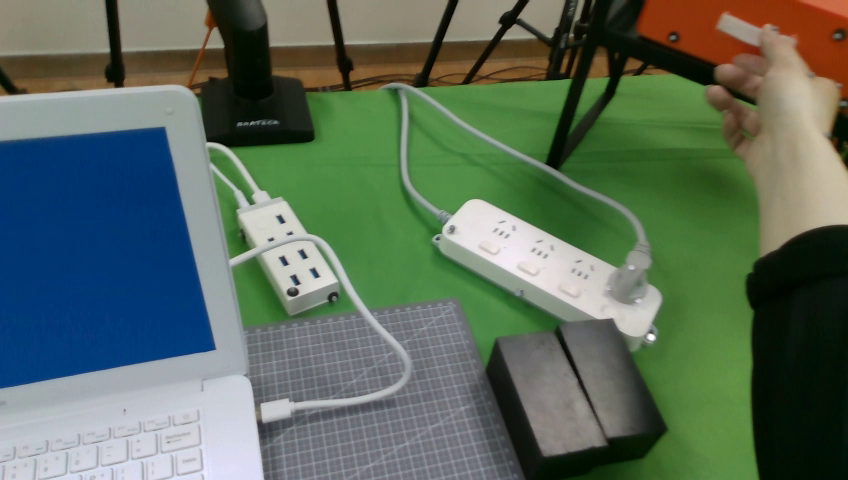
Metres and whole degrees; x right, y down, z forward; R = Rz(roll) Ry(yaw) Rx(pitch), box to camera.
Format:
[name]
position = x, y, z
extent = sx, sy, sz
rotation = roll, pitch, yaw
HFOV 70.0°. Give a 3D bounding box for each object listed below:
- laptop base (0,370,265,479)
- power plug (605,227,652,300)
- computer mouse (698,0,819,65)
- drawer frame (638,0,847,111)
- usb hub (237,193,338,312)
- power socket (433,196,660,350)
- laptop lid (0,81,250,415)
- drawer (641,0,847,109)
[laptop base]
position = -0.269, 0.213, 0.356
extent = 0.355, 0.023, 0.233
rotation = -9, 53, -16
[power plug]
position = 0.196, 0.029, 0.560
extent = 0.035, 0.053, 0.072
rotation = 38, 54, 25
[computer mouse]
position = 0.315, -0.208, 0.567
extent = 0.063, 0.041, 0.116
rotation = -11, 55, -22
[drawer frame]
position = 0.339, -0.235, 0.576
extent = 0.200, 0.083, 0.213
rotation = 28, 49, 17
[usb hub]
position = -0.129, 0.009, 0.563
extent = 0.049, 0.025, 0.124
rotation = -21, 54, -25
[power socket]
position = 0.117, 0.027, 0.580
extent = 0.225, 0.033, 0.072
rotation = 29, 49, 18
[laptop lid]
position = -0.300, 0.030, 0.361
extent = 0.358, 0.243, 0.013
rotation = -10, 36, -15
[drawer]
position = 0.338, -0.231, 0.576
extent = 0.193, 0.074, 0.211
rotation = 29, 49, 18
